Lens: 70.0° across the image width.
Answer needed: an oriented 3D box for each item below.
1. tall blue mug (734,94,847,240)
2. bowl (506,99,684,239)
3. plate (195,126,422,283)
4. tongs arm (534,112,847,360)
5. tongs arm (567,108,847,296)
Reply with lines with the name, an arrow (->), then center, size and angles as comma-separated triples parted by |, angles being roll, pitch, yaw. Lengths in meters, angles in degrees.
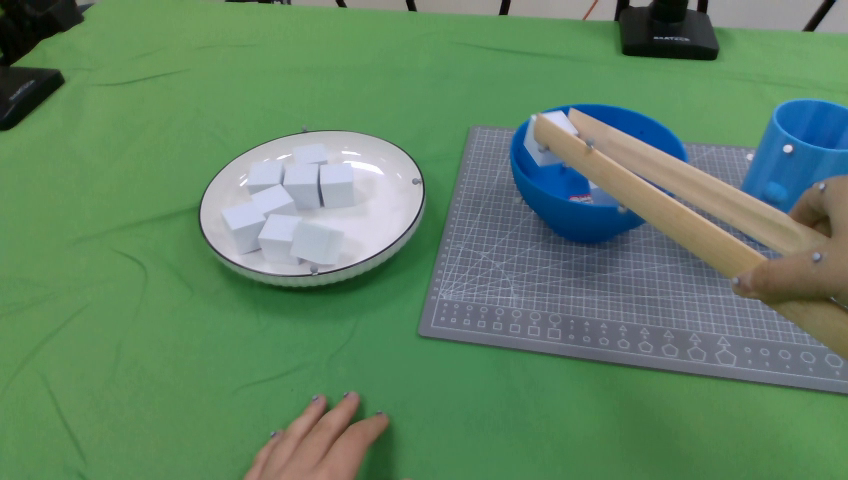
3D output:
tall blue mug -> 0.334, -0.055, 0.521 | 0.107, 0.109, 0.077 | 15, 47, 17
bowl -> 0.148, -0.054, 0.550 | 0.151, 0.077, 0.150 | -1, 45, 1
plate -> -0.105, -0.035, 0.572 | 0.209, 0.038, 0.207 | 0, 45, 1
tongs arm -> 0.188, -0.001, 0.371 | 0.051, 0.027, 0.380 | -9, 35, -21
tongs arm -> 0.210, -0.006, 0.381 | 0.028, 0.028, 0.383 | -9, 35, -26
